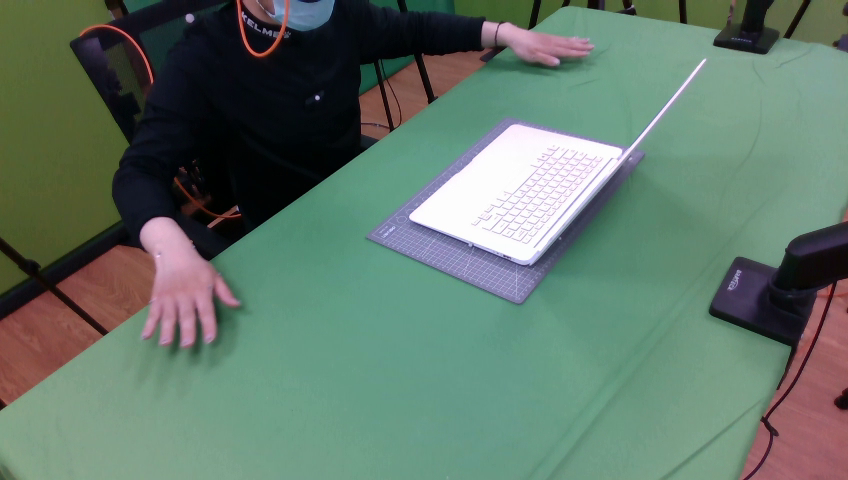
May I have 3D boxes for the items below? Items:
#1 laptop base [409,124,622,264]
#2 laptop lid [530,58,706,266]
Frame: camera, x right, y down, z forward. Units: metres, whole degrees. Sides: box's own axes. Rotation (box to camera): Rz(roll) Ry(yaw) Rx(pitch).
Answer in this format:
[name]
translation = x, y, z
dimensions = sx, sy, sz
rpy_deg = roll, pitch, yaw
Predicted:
[laptop base]
translation = 0.168, -0.095, 1.057
dimensions = 0.233, 0.023, 0.355
rpy_deg = 20, 47, 33
[laptop lid]
translation = 0.293, -0.118, 0.905
dimensions = 0.013, 0.241, 0.357
rpy_deg = 40, 53, 9
